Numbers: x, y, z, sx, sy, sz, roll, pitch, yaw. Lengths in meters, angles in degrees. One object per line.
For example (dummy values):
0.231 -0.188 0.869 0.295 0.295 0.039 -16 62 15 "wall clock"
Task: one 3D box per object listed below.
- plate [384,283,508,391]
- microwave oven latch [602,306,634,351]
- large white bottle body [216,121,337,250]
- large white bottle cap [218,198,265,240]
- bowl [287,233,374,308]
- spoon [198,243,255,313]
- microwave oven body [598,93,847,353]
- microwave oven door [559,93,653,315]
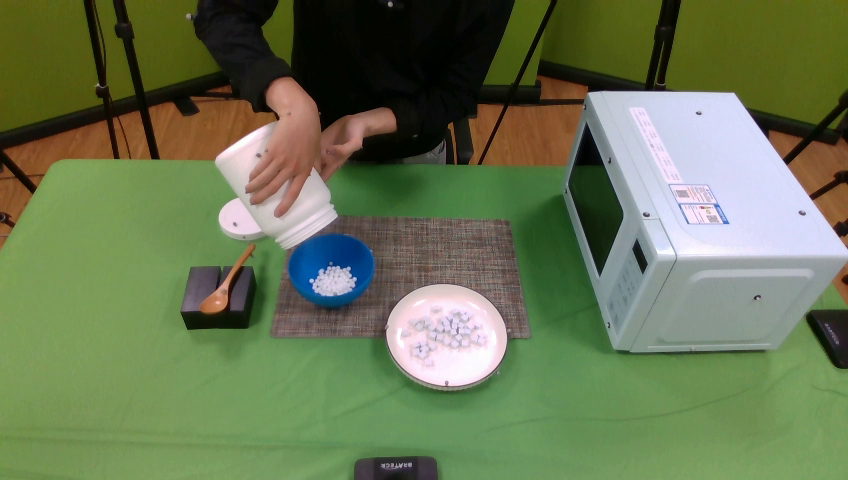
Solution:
0.036 0.166 1.029 0.209 0.038 0.208 2 49 -2 "plate"
0.332 0.153 1.044 0.030 0.029 0.078 0 45 -4 "microwave oven latch"
-0.239 -0.087 1.006 0.130 0.130 0.185 -40 104 -35 "large white bottle body"
-0.355 -0.045 1.220 0.115 0.018 0.114 2 45 -2 "large white bottle cap"
-0.164 0.068 1.078 0.151 0.077 0.150 3 46 -2 "bowl"
-0.334 0.062 1.052 0.041 0.022 0.193 9 40 7 "spoon"
0.475 -0.041 1.109 0.326 0.261 0.438 -1 45 -4 "microwave oven body"
0.327 -0.074 1.123 0.039 0.245 0.353 -1 46 -5 "microwave oven door"
